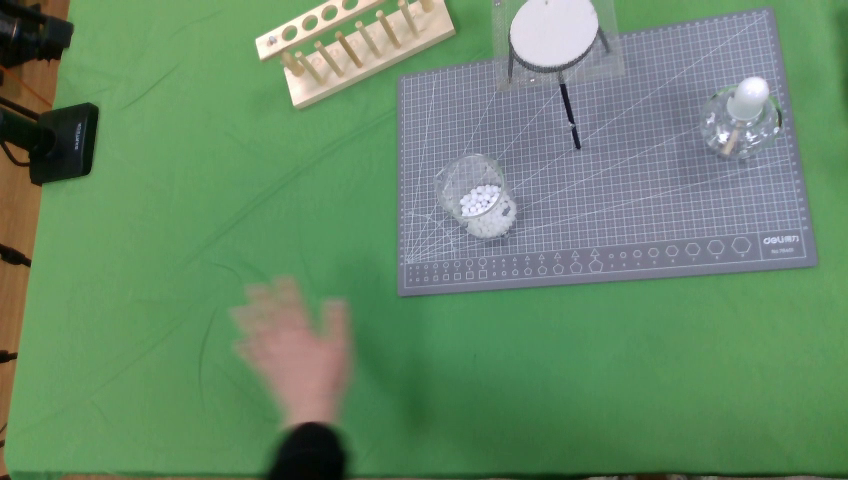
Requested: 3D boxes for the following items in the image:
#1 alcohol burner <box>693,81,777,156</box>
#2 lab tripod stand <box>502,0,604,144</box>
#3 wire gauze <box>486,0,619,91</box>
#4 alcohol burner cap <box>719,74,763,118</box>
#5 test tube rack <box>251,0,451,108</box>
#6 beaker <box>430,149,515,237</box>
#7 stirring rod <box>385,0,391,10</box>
[{"bbox_3d":[0.315,-0.131,0.609,0.077,0.120,0.077,-4,75,16],"label":"alcohol burner"},{"bbox_3d":[0.145,-0.196,0.670,0.148,0.132,0.147,-4,76,16],"label":"lab tripod stand"},{"bbox_3d":[0.125,-0.213,0.608,0.125,0.011,0.121,-6,77,17],"label":"wire gauze"},{"bbox_3d":[0.304,-0.140,0.576,0.034,0.048,0.033,-3,78,14],"label":"alcohol burner cap"},{"bbox_3d":[-0.095,-0.268,0.797,0.242,0.086,0.066,-22,70,12],"label":"test tube rack"},{"bbox_3d":[0.058,-0.049,0.681,0.083,0.101,0.074,15,80,22],"label":"beaker"},{"bbox_3d":[-0.067,-0.341,0.722,0.006,0.177,0.014,-20,65,6],"label":"stirring rod"}]
